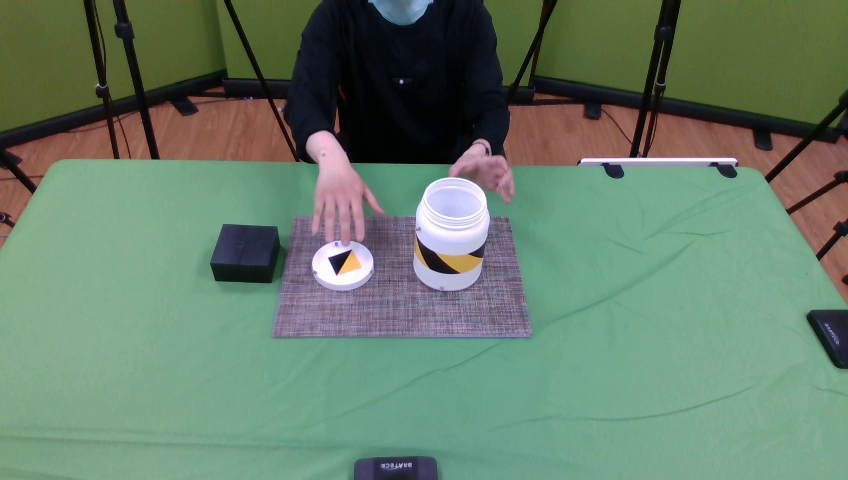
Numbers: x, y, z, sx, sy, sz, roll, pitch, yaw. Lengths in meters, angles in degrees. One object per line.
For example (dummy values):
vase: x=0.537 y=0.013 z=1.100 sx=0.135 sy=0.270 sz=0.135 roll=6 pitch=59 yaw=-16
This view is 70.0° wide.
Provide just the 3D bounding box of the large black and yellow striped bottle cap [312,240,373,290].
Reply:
large black and yellow striped bottle cap: x=-0.153 y=0.045 z=1.140 sx=0.115 sy=0.019 sz=0.114 roll=3 pitch=47 yaw=-3

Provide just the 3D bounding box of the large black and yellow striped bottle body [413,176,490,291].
large black and yellow striped bottle body: x=0.049 y=-0.011 z=1.091 sx=0.131 sy=0.185 sz=0.130 roll=2 pitch=46 yaw=-2
